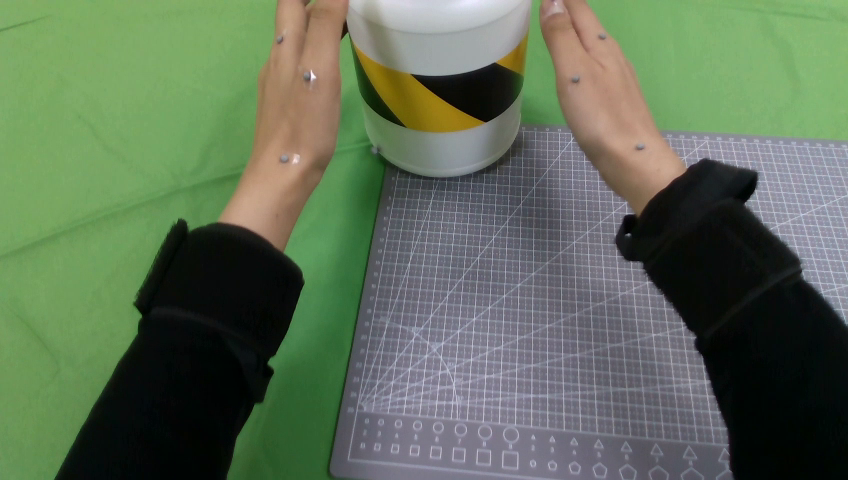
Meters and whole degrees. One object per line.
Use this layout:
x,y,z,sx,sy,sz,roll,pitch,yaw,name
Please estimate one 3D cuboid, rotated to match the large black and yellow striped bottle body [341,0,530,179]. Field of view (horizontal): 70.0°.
0.010,-0.150,0.443,0.131,0.185,0.129,-1,55,2,large black and yellow striped bottle body
